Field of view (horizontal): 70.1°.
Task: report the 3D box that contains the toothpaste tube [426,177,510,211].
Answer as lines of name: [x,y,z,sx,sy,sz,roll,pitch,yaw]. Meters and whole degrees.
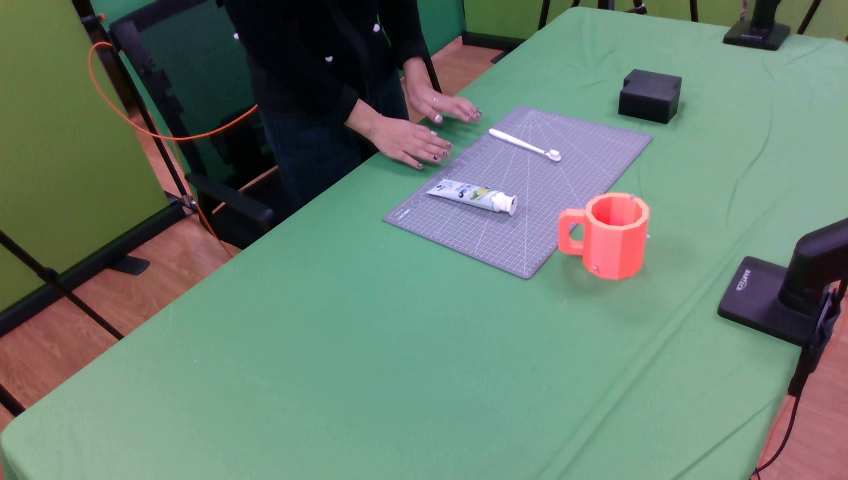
toothpaste tube: [0.083,-0.082,1.054,0.164,0.034,0.055,18,40,34]

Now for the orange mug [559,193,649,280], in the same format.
orange mug: [0.261,-0.008,0.884,0.126,0.101,0.083,9,43,14]

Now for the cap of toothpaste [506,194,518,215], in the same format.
cap of toothpaste: [0.146,-0.060,1.008,0.011,0.037,0.037,14,46,22]

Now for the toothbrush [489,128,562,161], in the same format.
toothbrush: [0.191,-0.188,1.167,0.014,0.017,0.180,-44,48,-17]
